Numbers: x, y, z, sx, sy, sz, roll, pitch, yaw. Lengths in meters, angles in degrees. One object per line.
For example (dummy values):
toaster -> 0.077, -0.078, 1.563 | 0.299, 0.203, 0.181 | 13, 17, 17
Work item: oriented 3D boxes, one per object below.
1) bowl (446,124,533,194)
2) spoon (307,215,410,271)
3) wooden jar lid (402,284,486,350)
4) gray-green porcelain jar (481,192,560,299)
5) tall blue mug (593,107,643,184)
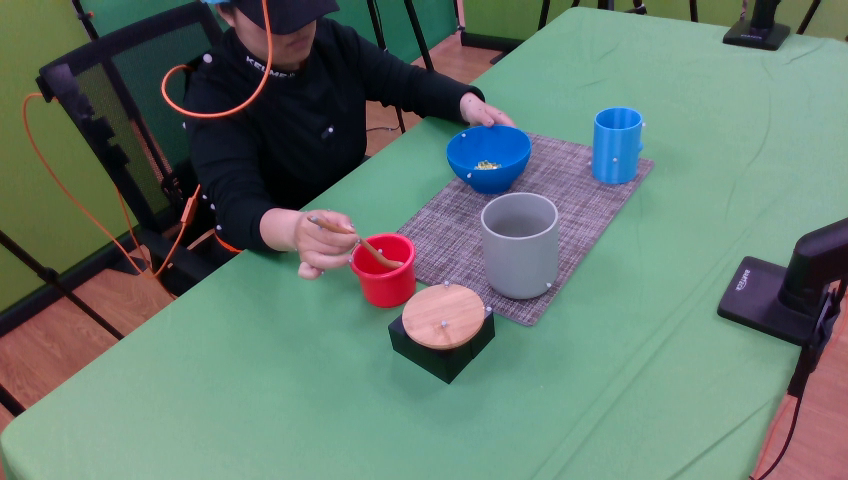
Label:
bowl -> 0.118, -0.135, 1.075 | 0.151, 0.077, 0.150 | -5, 40, 5
spoon -> -0.086, 0.005, 0.824 | 0.041, 0.195, 0.021 | 25, 83, 45
wooden jar lid -> 0.026, 0.101, 0.786 | 0.108, 0.021, 0.108 | -5, 39, 4
gray-green porcelain jar -> 0.138, 0.012, 0.858 | 0.106, 0.127, 0.105 | -6, 40, 5
tall blue mug -> 0.330, -0.172, 1.052 | 0.078, 0.108, 0.106 | -12, 40, 0
